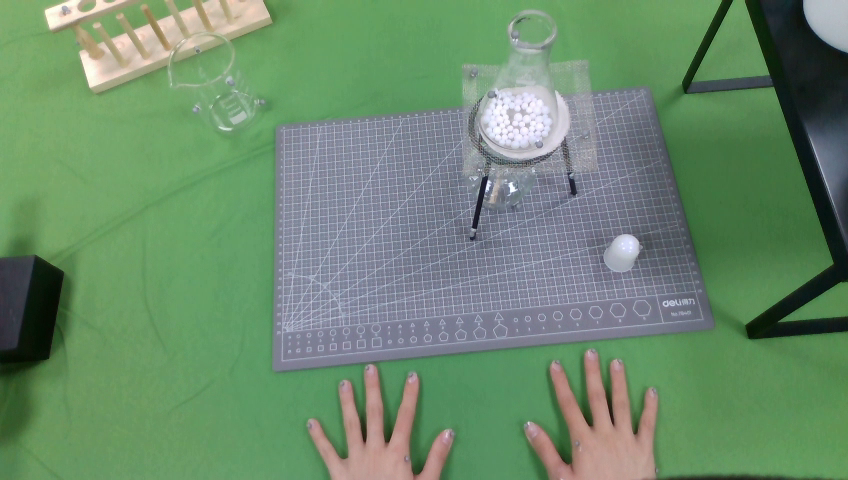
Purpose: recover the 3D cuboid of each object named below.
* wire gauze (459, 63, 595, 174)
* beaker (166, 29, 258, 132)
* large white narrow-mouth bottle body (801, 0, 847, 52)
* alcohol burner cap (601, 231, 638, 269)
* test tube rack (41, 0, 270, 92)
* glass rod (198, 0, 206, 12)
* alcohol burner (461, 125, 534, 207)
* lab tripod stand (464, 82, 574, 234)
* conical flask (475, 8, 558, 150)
[{"bbox_3d":[0.093,-0.117,0.563,0.121,0.011,0.124,0,65,1],"label":"wire gauze"},{"bbox_3d":[-0.243,-0.178,0.701,0.073,0.101,0.084,40,75,18],"label":"beaker"},{"bbox_3d":[0.373,-0.236,0.444,0.102,0.196,0.101,-1,65,3],"label":"large white narrow-mouth bottle body"},{"bbox_3d":[0.204,0.007,0.626,0.034,0.048,0.033,-1,68,3],"label":"alcohol burner cap"},{"bbox_3d":[-0.327,-0.280,0.756,0.242,0.086,0.066,-25,68,-7],"label":"test tube rack"},{"bbox_3d":[-0.286,-0.344,0.708,0.008,0.201,0.008,1,65,-1],"label":"glass rod"},{"bbox_3d":[0.078,-0.083,0.633,0.078,0.120,0.077,0,67,1],"label":"alcohol burner"},{"bbox_3d":[0.090,-0.087,0.622,0.148,0.132,0.147,-1,66,2],"label":"lab tripod stand"},{"bbox_3d":[0.082,-0.136,0.507,0.075,0.123,0.075,-1,67,3],"label":"conical flask"}]
